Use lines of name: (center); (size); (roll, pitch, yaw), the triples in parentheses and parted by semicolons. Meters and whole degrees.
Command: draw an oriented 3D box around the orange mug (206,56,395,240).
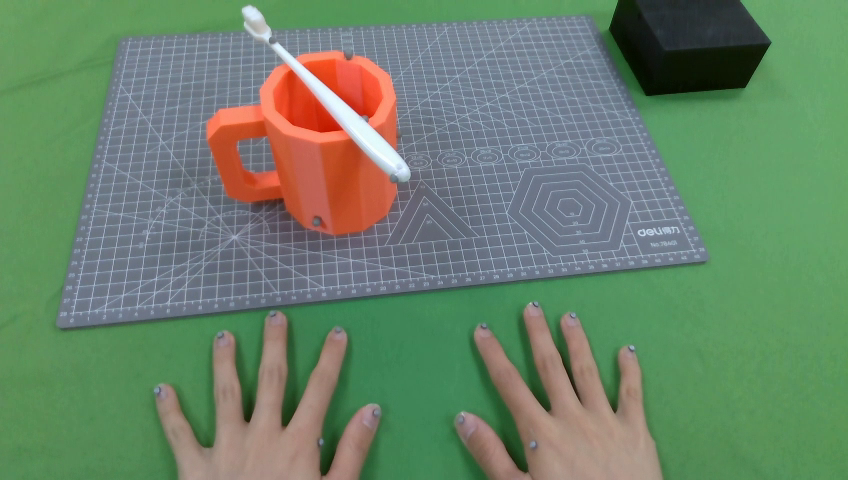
orange mug: (-0.081, -0.060, 0.421); (0.126, 0.101, 0.082); (-7, 55, -14)

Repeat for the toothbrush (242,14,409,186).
toothbrush: (-0.067, -0.093, 0.381); (0.014, 0.017, 0.180); (-32, 62, -23)
